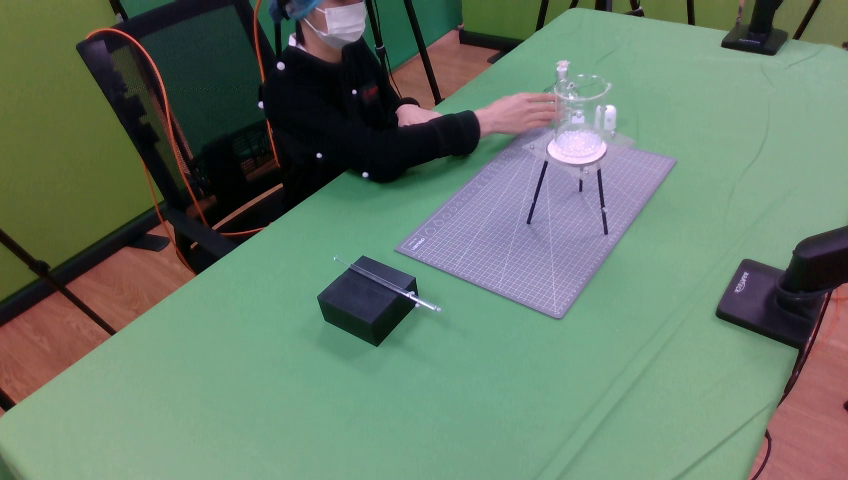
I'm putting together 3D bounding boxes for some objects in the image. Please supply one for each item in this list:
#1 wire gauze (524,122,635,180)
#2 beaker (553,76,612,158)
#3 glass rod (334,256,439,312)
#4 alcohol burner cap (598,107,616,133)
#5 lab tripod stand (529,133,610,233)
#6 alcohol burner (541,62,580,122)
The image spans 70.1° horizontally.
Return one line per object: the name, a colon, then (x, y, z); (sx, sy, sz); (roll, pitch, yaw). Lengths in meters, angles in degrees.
wire gauze: (0.233, -0.142, 0.913); (0.122, 0.011, 0.124); (-31, 42, -26)
beaker: (0.230, -0.178, 0.882); (0.084, 0.101, 0.073); (-9, 41, 1)
glass rod: (-0.058, 0.060, 0.850); (0.198, 0.008, 0.008); (24, 49, 33)
alcohol burner cap: (0.361, -0.239, 1.189); (0.034, 0.048, 0.033); (-4, 40, 4)
lab tripod stand: (0.236, -0.089, 0.953); (0.148, 0.132, 0.147); (-5, 42, 5)
alcohol burner: (0.277, -0.302, 1.222); (0.078, 0.119, 0.077); (-4, 38, 4)
